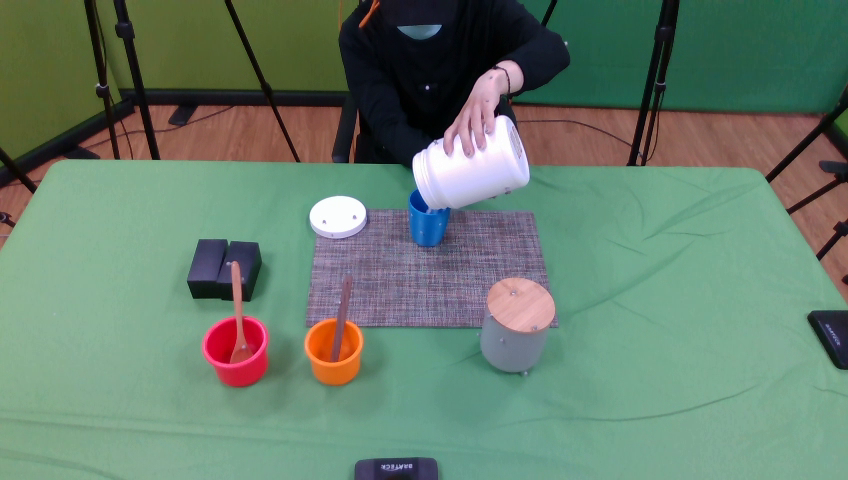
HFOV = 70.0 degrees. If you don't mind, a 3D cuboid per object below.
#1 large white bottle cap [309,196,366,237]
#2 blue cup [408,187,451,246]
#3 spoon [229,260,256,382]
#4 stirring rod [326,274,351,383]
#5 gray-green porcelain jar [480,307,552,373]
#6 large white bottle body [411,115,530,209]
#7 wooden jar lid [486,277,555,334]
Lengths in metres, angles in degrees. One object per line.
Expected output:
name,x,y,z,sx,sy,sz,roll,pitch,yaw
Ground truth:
large white bottle cap,-0.176,-0.049,1.229,0.115,0.018,0.114,0,44,0
blue cup,0.008,-0.042,1.177,0.093,0.101,0.092,3,47,-3
spoon,-0.294,0.129,0.966,0.042,0.021,0.193,-4,90,-9
stirring rod,-0.137,0.142,0.971,0.014,0.006,0.176,9,89,1
gray-green porcelain jar,0.148,0.148,0.992,0.106,0.127,0.105,2,46,-2
large white bottle body,0.082,-0.133,1.085,0.184,0.131,0.130,-18,42,20
wooden jar lid,0.150,0.105,0.948,0.108,0.021,0.107,3,47,-3
